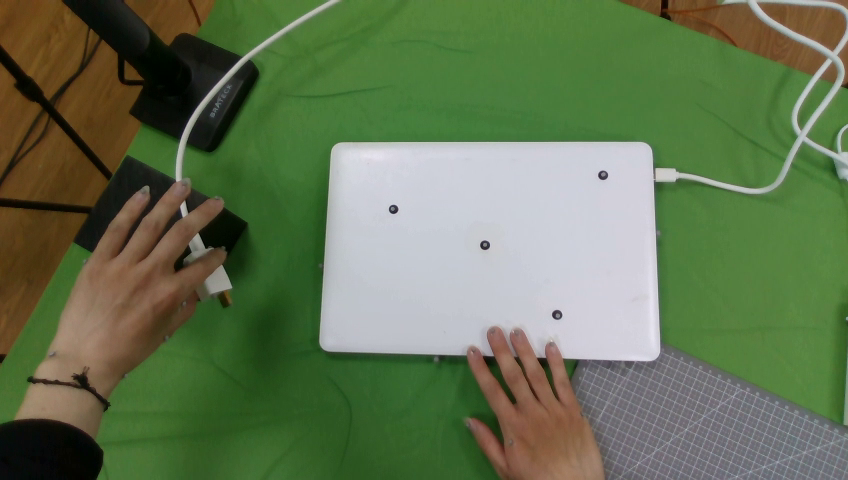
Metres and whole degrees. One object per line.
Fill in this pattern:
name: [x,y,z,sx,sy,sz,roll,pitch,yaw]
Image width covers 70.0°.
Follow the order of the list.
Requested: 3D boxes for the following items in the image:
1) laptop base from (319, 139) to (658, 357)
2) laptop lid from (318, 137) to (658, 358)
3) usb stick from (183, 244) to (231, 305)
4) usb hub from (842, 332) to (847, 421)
laptop base: [0.066,0.004,0.657,0.354,0.023,0.234,0,81,5]
laptop lid: [0.065,0.003,0.644,0.356,0.013,0.240,2,80,5]
usb stick: [-0.204,0.035,0.578,0.021,0.027,0.059,-27,87,34]
usb hub: [0.446,0.120,0.597,0.049,0.025,0.124,10,79,7]
